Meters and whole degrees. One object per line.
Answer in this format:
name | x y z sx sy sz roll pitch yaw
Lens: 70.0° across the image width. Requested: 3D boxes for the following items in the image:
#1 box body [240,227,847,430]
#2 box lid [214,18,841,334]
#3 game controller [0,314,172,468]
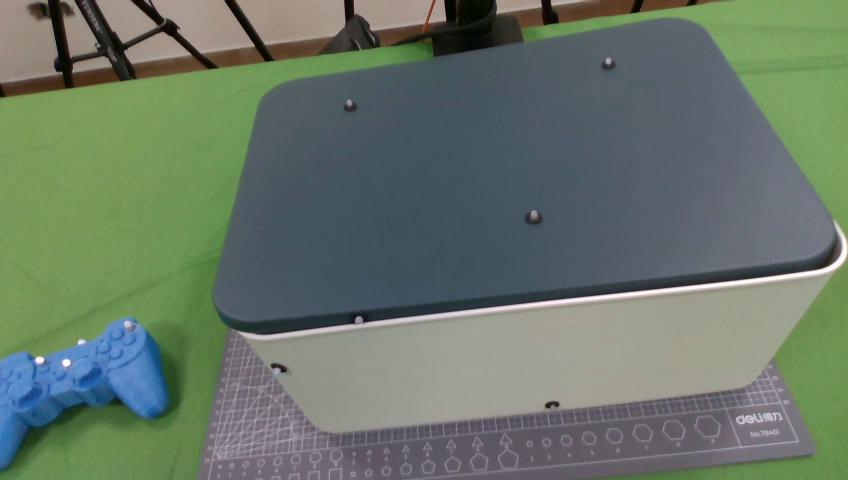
box body | 0.067 -0.006 0.478 0.364 0.162 0.251 -7 48 3
box lid | 0.048 -0.063 0.426 0.371 0.015 0.260 -8 47 3
game controller | -0.296 0.119 0.508 0.155 0.052 0.096 -18 46 -7
